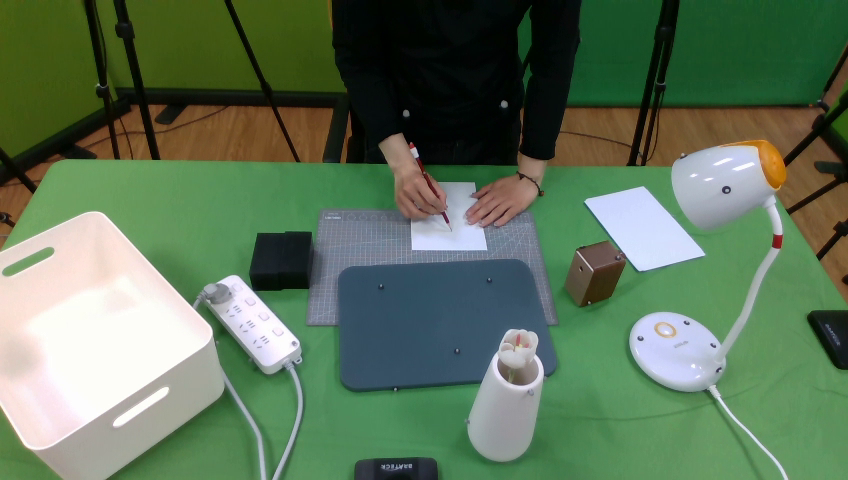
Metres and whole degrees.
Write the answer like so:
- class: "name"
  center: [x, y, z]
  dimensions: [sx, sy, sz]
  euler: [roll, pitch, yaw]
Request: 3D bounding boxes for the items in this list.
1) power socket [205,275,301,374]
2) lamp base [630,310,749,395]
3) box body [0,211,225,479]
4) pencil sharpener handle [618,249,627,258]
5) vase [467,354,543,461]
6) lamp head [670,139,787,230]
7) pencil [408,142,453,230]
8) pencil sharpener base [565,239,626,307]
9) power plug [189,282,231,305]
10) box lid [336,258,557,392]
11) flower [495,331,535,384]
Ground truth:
- class: "power socket"
  center: [-0.296, 0.140, 1.035]
  dimensions: [0.072, 0.033, 0.225]
  euler: [-32, 57, -30]
- class: "lamp base"
  center: [0.447, 0.142, 0.984]
  dimensions: [0.161, 0.181, 0.178]
  euler: [-24, 55, -24]
- class: "box body"
  center: [-0.504, 0.154, 0.916]
  dimensions: [0.362, 0.161, 0.254]
  euler: [36, 54, 27]
- class: "pencil sharpener handle"
  center: [0.359, 0.036, 1.113]
  dimensions: [0.031, 0.068, 0.036]
  euler: [-15, 61, -18]
- class: "vase"
  center: [0.116, 0.234, 0.861]
  dimensions: [0.098, 0.201, 0.097]
  euler: [1, 47, -1]
- class: "lamp head"
  center: [0.415, -0.079, 0.812]
  dimensions: [0.113, 0.123, 0.112]
  euler: [13, 70, -37]
- class: "pencil"
  center: [0.015, -0.106, 1.207]
  dimensions: [0.012, 0.194, 0.012]
  euler: [-25, 13, 6]
- class: "pencil sharpener base"
  center: [0.313, 0.060, 1.104]
  dimensions: [0.077, 0.107, 0.061]
  euler: [-15, 49, -18]
- class: "power plug"
  center: [-0.368, 0.097, 1.039]
  dimensions: [0.072, 0.053, 0.035]
  euler: [-26, 55, -20]
- class: "box lid"
  center: [0.030, 0.140, 1.073]
  dimensions: [0.372, 0.015, 0.261]
  euler: [-3, 47, -7]
- class: "flower"
  center: [0.110, 0.187, 0.791]
  dimensions: [0.044, 0.363, 0.038]
  euler: [-32, 65, -10]
